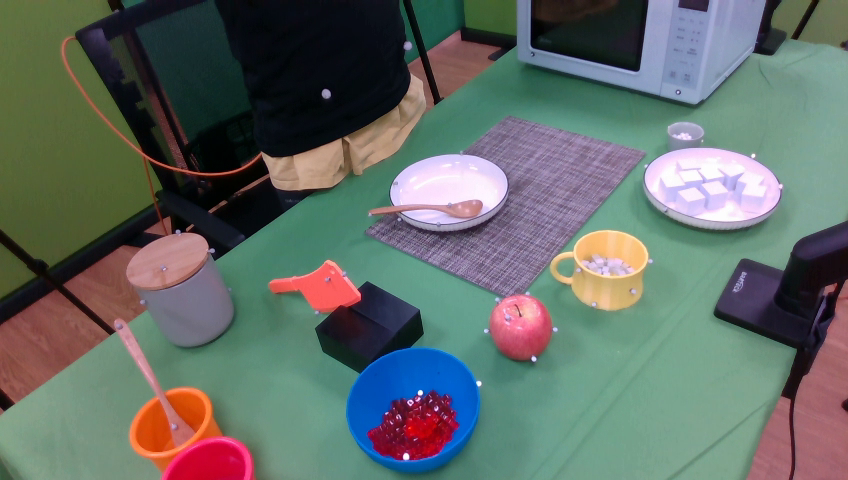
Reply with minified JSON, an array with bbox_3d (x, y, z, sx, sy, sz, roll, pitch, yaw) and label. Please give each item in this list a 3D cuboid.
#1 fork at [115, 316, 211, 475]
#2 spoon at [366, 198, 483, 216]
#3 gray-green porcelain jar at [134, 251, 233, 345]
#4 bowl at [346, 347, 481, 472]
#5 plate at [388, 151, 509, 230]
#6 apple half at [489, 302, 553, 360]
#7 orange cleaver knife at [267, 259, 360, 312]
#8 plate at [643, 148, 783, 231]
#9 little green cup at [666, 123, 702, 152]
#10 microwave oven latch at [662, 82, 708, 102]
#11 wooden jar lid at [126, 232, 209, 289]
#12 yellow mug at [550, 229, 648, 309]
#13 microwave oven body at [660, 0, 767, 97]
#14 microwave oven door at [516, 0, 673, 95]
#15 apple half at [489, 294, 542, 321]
[{"bbox_3d":[-0.309,0.179,0.707,0.028,0.018,0.207,-30,89,-20],"label":"fork"},{"bbox_3d":[0.002,-0.055,0.996,0.194,0.022,0.041,0,47,-11],"label":"spoon"},{"bbox_3d":[-0.334,0.076,0.849,0.106,0.127,0.105,-4,41,4],"label":"gray-green porcelain jar"},{"bbox_3d":[-0.008,0.205,0.691,0.151,0.077,0.150,-4,40,4],"label":"bowl"},{"bbox_3d":[0.044,-0.082,1.042,0.209,0.038,0.208,-4,40,4],"label":"plate"},{"bbox_3d":[0.127,0.123,0.772,0.081,0.075,0.053,-8,44,-6],"label":"apple half"},{"bbox_3d":[-0.161,0.070,0.859,0.210,0.077,0.012,-13,22,49],"label":"orange cleaver knife"},{"bbox_3d":[0.464,-0.080,0.986,0.207,0.039,0.206,-4,41,4],"label":"plate"},{"bbox_3d":[0.472,-0.183,1.102,0.061,0.039,0.061,-5,40,5],"label":"little green cup"},{"bbox_3d":[0.517,-0.298,1.202,0.078,0.029,0.030,27,52,35],"label":"microwave oven latch"},{"bbox_3d":[-0.340,0.030,0.808,0.108,0.021,0.108,-5,39,5],"label":"wooden jar lid"},{"bbox_3d":[0.245,0.040,0.856,0.130,0.064,0.099,1,42,11],"label":"yellow mug"},{"bbox_3d":[0.473,-0.516,1.313,0.438,0.261,0.327,26,51,34],"label":"microwave oven body"},{"bbox_3d":[0.344,-0.458,1.256,0.353,0.245,0.039,26,51,33],"label":"microwave oven door"},{"bbox_3d":[0.121,0.098,0.800,0.081,0.081,0.032,-10,43,-4],"label":"apple half"}]
